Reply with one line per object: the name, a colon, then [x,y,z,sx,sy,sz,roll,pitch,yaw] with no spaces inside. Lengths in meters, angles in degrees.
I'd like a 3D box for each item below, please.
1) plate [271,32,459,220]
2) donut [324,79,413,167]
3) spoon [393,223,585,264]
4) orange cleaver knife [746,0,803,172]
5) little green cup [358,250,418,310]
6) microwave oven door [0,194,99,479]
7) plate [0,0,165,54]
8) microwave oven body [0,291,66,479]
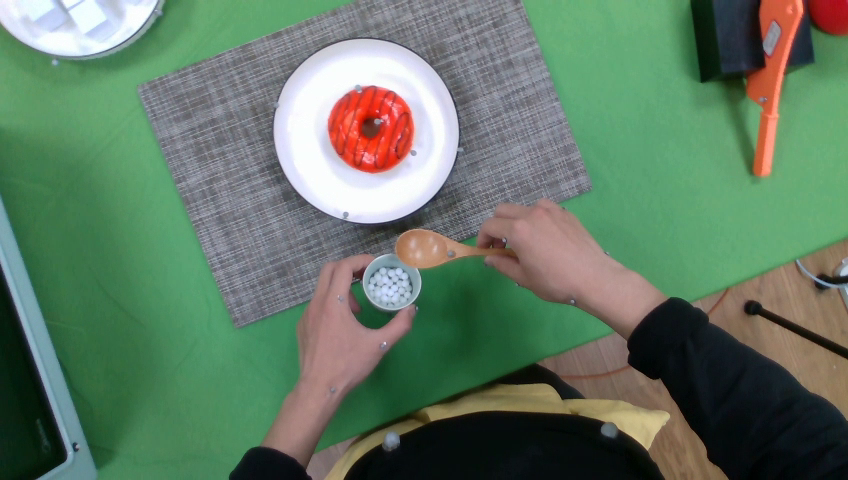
plate: [-0.065,-0.126,0.685,0.209,0.038,0.209,0,92,-1]
donut: [-0.061,-0.129,0.674,0.099,0.048,0.099,0,93,1]
spoon: [0.066,0.008,0.613,0.193,0.022,0.041,3,81,6]
orange cleaver knife: [0.380,-0.181,0.674,0.012,0.076,0.213,-6,121,1]
little green cup: [-0.039,0.045,0.642,0.062,0.039,0.061,3,71,-9]
microwave oven door: [-0.438,0.105,0.568,0.039,0.243,0.356,-19,91,0]
plate: [-0.383,-0.310,0.678,0.208,0.039,0.207,0,91,-1]
microwave oven body: [-0.590,0.110,0.570,0.326,0.260,0.442,-19,92,-1]
